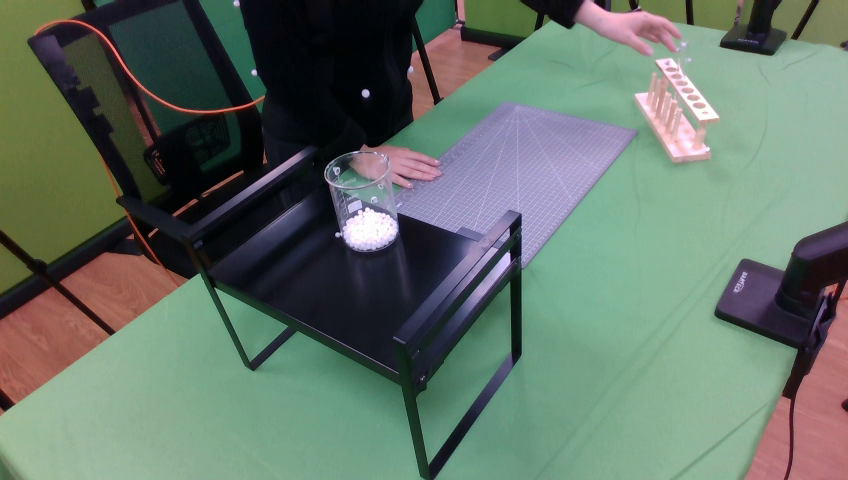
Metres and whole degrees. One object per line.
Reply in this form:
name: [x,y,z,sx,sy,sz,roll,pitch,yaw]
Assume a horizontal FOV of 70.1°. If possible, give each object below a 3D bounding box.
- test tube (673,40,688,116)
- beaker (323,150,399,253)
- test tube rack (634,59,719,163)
test tube: [0.477,-0.298,1.127,0.017,0.151,0.017,-7,40,7]
beaker: [-0.067,-0.043,0.699,0.073,0.101,0.084,28,51,35]
test tube rack: [0.470,-0.250,1.148,0.067,0.085,0.241,-6,40,3]
